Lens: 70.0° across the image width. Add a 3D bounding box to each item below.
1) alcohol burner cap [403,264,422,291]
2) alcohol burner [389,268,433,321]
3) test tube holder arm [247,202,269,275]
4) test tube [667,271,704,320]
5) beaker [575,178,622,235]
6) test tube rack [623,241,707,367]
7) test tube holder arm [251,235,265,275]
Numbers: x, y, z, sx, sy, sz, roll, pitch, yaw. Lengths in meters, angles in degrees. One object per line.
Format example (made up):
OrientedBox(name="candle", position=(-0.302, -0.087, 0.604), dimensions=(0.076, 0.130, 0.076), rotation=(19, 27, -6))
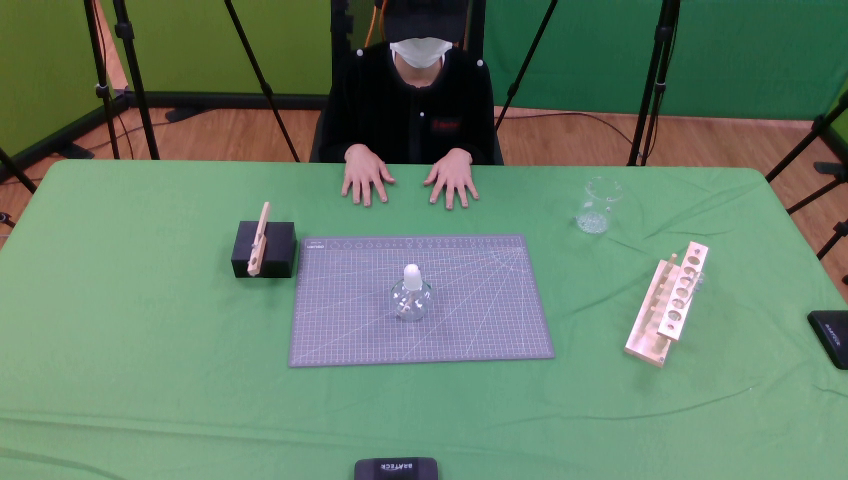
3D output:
OrientedBox(name="alcohol burner cap", position=(-0.021, 0.060, 1.021), dimensions=(0.034, 0.048, 0.033), rotation=(-2, 46, 2))
OrientedBox(name="alcohol burner", position=(-0.022, 0.085, 1.046), dimensions=(0.078, 0.119, 0.077), rotation=(2, 48, -2))
OrientedBox(name="test tube holder arm", position=(-0.304, -0.006, 1.116), dimensions=(0.013, 0.015, 0.177), rotation=(-6, 46, 2))
OrientedBox(name="test tube", position=(0.432, 0.104, 1.019), dimensions=(0.017, 0.151, 0.017), rotation=(3, 48, -3))
OrientedBox(name="beaker", position=(0.356, -0.068, 1.240), dimensions=(0.084, 0.101, 0.073), rotation=(-18, 50, -21))
OrientedBox(name="test tube rack", position=(0.435, 0.104, 1.089), dimensions=(0.066, 0.085, 0.242), rotation=(24, 49, 19))
OrientedBox(name="test tube holder arm", position=(-0.297, 0.025, 1.085), dimensions=(0.010, 0.015, 0.087), rotation=(-5, 46, 2))
